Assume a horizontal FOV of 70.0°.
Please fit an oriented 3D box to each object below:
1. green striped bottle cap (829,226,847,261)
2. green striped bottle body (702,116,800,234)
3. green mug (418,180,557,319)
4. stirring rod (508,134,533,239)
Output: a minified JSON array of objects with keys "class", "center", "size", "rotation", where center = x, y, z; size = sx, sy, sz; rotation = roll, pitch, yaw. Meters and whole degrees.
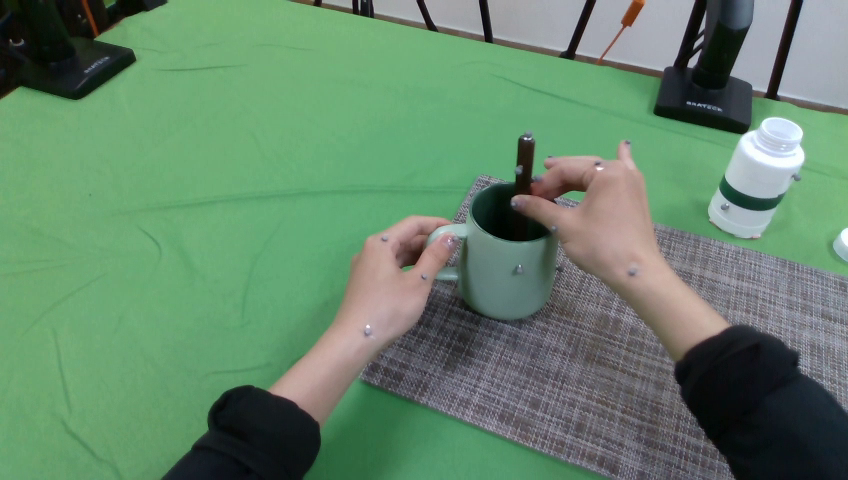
[{"class":"green striped bottle cap","center":[0.450,0.005,0.631],"size":[0.044,0.020,0.044],"rotation":[1,42,-1]},{"class":"green striped bottle body","center":[0.340,-0.068,0.627],"size":[0.063,0.120,0.062],"rotation":[1,46,-1]},{"class":"green mug","center":[0.057,0.011,0.548],"size":[0.125,0.106,0.091],"rotation":[-5,46,-6]},{"class":"stirring rod","center":[0.082,-0.028,0.528],"size":[0.014,0.178,0.006],"rotation":[18,59,17]}]
